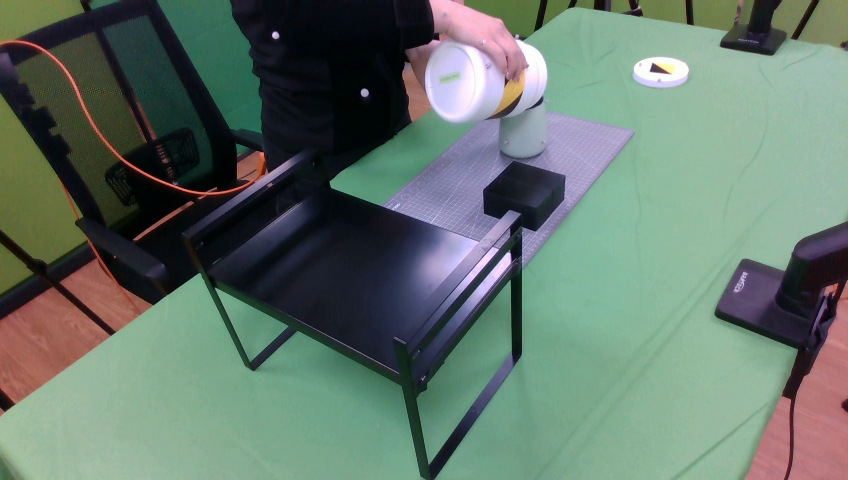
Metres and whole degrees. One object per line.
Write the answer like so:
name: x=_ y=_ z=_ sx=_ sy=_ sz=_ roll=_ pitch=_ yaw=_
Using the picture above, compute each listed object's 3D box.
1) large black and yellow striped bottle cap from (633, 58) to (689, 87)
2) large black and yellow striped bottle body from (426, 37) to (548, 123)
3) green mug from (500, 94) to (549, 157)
large black and yellow striped bottle cap: x=0.522 y=-0.370 z=1.332 sx=0.115 sy=0.019 sz=0.114 roll=-3 pitch=41 yaw=4
large black and yellow striped bottle body: x=0.109 y=-0.268 z=1.006 sx=0.185 sy=0.131 sz=0.129 roll=-17 pitch=37 yaw=-41
green mug: x=0.196 y=-0.229 z=1.145 sx=0.092 sy=0.105 sz=0.125 roll=15 pitch=46 yaw=25
